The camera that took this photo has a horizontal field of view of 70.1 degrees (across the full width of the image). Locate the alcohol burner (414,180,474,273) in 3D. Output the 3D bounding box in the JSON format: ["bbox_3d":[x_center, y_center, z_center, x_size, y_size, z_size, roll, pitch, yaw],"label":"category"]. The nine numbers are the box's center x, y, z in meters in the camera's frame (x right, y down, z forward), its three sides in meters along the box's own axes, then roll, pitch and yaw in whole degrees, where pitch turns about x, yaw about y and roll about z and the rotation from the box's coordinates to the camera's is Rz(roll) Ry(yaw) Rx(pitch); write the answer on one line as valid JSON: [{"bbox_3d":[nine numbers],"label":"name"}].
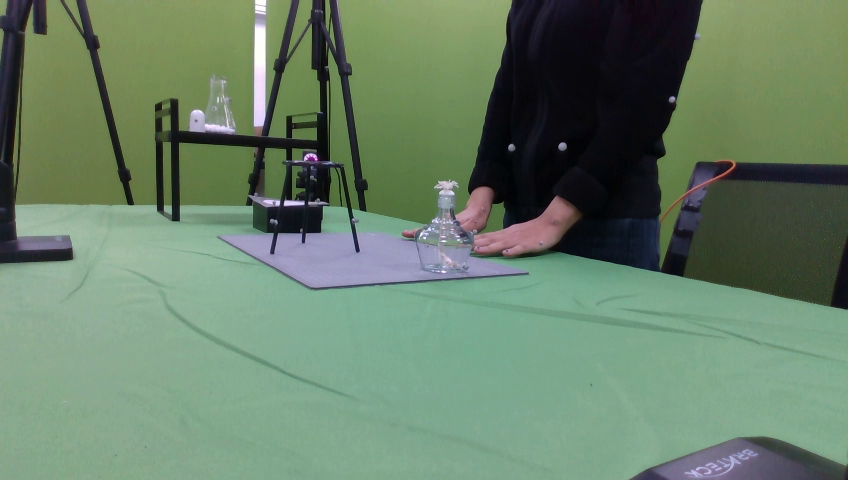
[{"bbox_3d":[0.026,-0.017,0.773,0.078,0.119,0.078,4,6,0],"label":"alcohol burner"}]

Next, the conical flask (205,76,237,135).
[{"bbox_3d":[-0.443,-0.290,1.309,0.075,0.122,0.075,3,7,0],"label":"conical flask"}]

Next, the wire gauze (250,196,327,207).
[{"bbox_3d":[-0.259,-0.073,1.150,0.122,0.011,0.124,0,8,-32],"label":"wire gauze"}]

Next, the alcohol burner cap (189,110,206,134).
[{"bbox_3d":[-0.464,-0.242,1.240,0.034,0.048,0.034,5,7,0],"label":"alcohol burner cap"}]

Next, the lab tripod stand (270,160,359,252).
[{"bbox_3d":[-0.166,-0.051,0.892,0.148,0.131,0.148,3,9,0],"label":"lab tripod stand"}]
